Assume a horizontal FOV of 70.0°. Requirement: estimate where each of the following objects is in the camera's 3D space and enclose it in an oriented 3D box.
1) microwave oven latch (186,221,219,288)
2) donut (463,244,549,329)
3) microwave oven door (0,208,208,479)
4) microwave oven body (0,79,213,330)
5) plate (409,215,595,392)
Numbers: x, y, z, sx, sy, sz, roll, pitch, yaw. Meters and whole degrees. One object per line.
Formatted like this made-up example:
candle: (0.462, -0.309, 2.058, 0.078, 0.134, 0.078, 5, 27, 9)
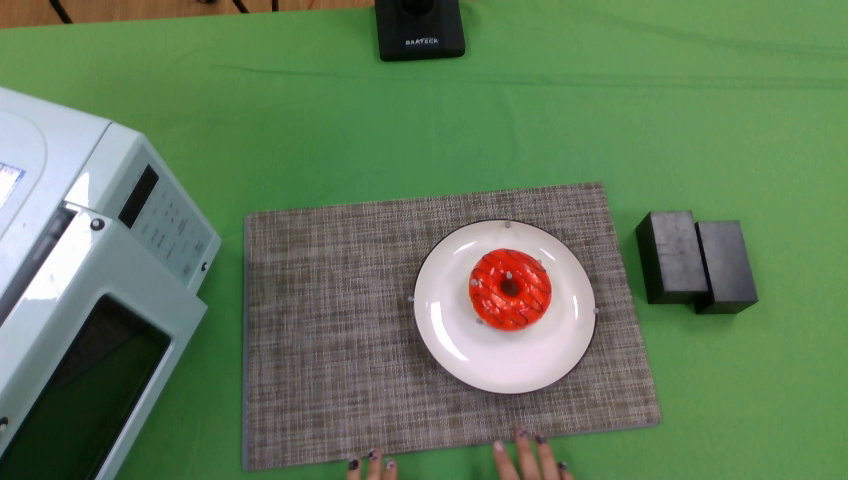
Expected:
microwave oven latch: (-0.262, 0.015, 0.689, 0.030, 0.029, 0.079, 18, 70, 5)
donut: (0.093, 0.053, 0.690, 0.099, 0.048, 0.098, 1, 70, -4)
microwave oven door: (-0.321, 0.172, 0.515, 0.039, 0.245, 0.354, 20, 69, 7)
microwave oven body: (-0.456, 0.089, 0.548, 0.326, 0.261, 0.439, 18, 70, 4)
plate: (0.088, 0.072, 0.694, 0.209, 0.038, 0.207, 1, 68, -2)
